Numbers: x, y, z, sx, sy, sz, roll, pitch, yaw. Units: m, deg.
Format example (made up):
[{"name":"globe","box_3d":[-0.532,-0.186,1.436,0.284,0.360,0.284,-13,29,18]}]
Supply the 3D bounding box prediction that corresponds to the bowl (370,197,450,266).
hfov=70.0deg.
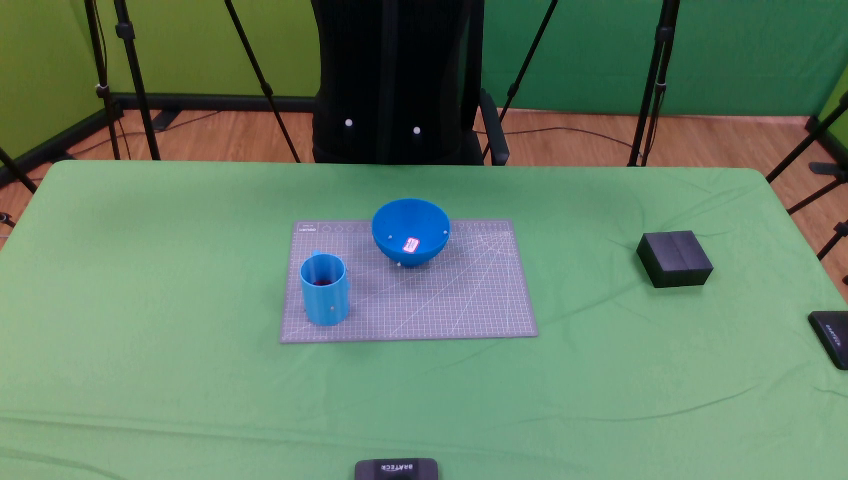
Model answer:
[{"name":"bowl","box_3d":[-0.028,-0.003,1.156,0.151,0.077,0.150,2,46,-2]}]

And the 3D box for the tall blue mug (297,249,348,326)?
[{"name":"tall blue mug","box_3d":[-0.183,0.077,1.045,0.106,0.108,0.078,35,54,26]}]
